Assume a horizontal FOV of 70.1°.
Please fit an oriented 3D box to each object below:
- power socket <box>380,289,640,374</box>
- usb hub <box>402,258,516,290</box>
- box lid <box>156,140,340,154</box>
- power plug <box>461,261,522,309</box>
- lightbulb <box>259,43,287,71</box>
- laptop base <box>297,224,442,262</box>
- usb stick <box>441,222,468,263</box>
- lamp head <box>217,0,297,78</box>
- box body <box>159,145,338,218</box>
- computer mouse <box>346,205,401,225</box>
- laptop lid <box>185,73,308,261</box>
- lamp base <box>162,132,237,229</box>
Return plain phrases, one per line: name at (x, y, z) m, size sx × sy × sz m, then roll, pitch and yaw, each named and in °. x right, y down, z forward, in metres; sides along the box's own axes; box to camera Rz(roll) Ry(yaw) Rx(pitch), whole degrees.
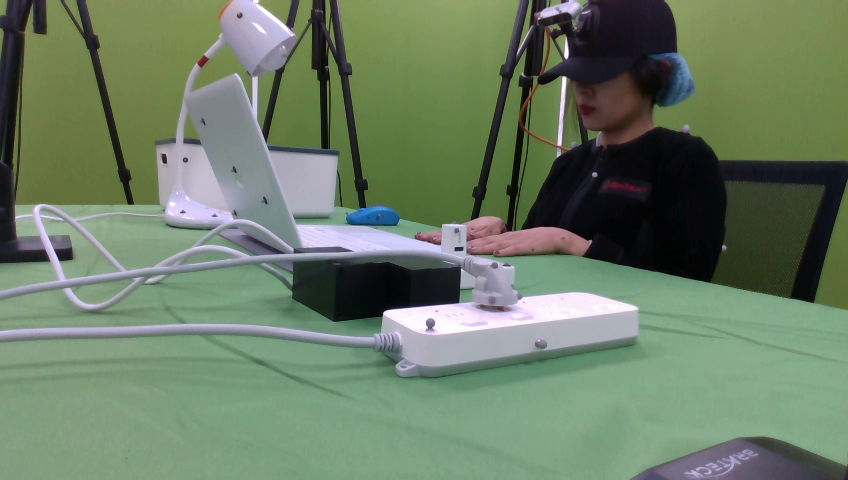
power socket at (0.072, 0.064, 0.461) m, size 0.228 × 0.032 × 0.072 m, roll -3°, pitch 7°, yaw -30°
usb hub at (0.042, 0.038, 0.690) m, size 0.126 × 0.025 × 0.049 m, roll -2°, pitch 9°, yaw -30°
box lid at (-0.409, -0.212, 1.404) m, size 0.373 × 0.015 × 0.262 m, roll -2°, pitch 8°, yaw -32°
power plug at (0.043, 0.043, 0.444) m, size 0.035 × 0.052 × 0.073 m, roll -5°, pitch 8°, yaw 44°
lightbulb at (-0.295, -0.357, 1.103) m, size 0.059 × 0.107 × 0.059 m, roll -37°, pitch 0°, yaw 0°
laptop base at (-0.127, 0.003, 0.945) m, size 0.237 × 0.023 × 0.352 m, roll 2°, pitch 6°, yaw -31°
usb stick at (0.034, 0.009, 0.685) m, size 0.021 × 0.059 × 0.027 m, roll -2°, pitch 10°, yaw -30°
lamp head at (-0.315, -0.372, 1.102) m, size 0.123 × 0.112 × 0.112 m, roll 41°, pitch 3°, yaw -9°
box body at (-0.410, -0.139, 1.414) m, size 0.366 × 0.160 × 0.253 m, roll -3°, pitch 8°, yaw -33°
computer mouse at (-0.112, -0.055, 1.335) m, size 0.118 × 0.041 × 0.062 m, roll -5°, pitch 11°, yaw -21°
laptop lid at (-0.262, -0.101, 0.850) m, size 0.013 × 0.242 × 0.355 m, roll -26°, pitch 21°, yaw -25°
lamp base at (-0.419, -0.116, 1.156) m, size 0.179 × 0.180 × 0.160 m, roll 0°, pitch 7°, yaw 0°
